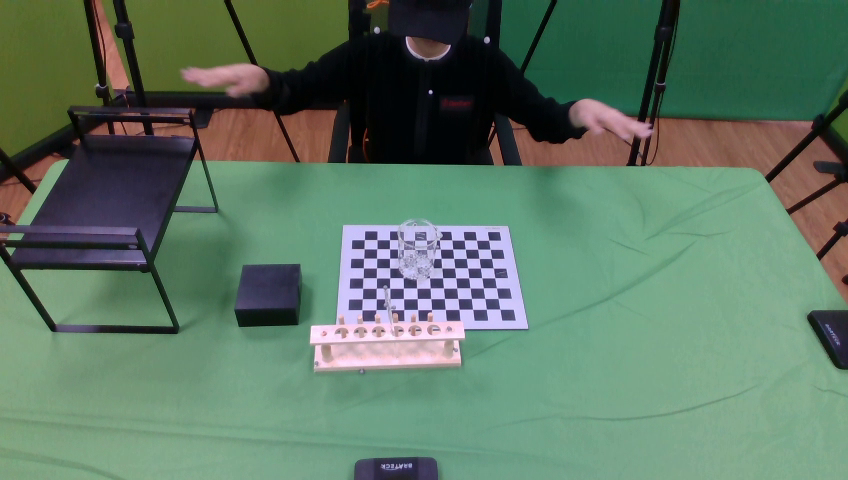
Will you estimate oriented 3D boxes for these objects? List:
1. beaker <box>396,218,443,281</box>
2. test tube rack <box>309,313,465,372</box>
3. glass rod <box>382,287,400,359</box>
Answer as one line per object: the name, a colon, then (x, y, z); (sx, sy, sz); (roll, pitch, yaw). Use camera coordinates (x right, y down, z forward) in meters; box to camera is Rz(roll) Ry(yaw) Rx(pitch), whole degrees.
beaker: (-0.010, 0.020, 1.116); (0.084, 0.101, 0.073); (1, 46, -3)
test tube rack: (-0.059, 0.161, 0.990); (0.242, 0.085, 0.066); (-1, 46, -5)
glass rod: (-0.049, 0.133, 0.926); (0.008, 0.201, 0.008); (-3, 50, 3)
